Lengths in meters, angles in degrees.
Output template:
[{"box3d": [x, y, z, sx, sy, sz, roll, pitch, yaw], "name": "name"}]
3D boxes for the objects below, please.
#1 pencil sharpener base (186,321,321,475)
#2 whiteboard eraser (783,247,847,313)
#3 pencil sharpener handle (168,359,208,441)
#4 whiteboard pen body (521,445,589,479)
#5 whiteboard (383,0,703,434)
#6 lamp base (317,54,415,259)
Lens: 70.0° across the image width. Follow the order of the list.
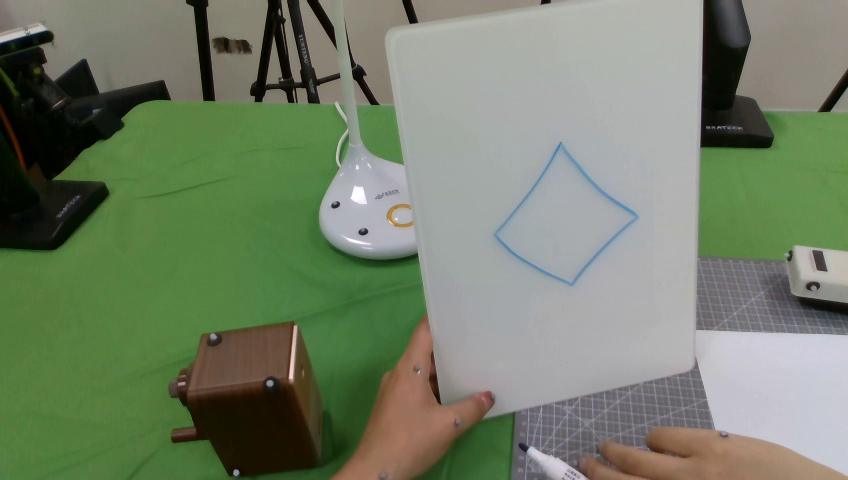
[{"box3d": [-0.124, 0.120, 0.452, 0.077, 0.108, 0.060, -7, 40, -2], "name": "pencil sharpener base"}, {"box3d": [0.390, 0.040, 0.547, 0.112, 0.042, 0.055, 9, 42, 16], "name": "whiteboard eraser"}, {"box3d": [-0.175, 0.119, 0.439, 0.030, 0.068, 0.035, -7, 27, -2], "name": "pencil sharpener handle"}, {"box3d": [0.126, 0.183, 0.419, 0.139, 0.017, 0.017, 29, 50, 28], "name": "whiteboard pen body"}, {"box3d": [0.090, -0.030, 0.503, 0.217, 0.307, 0.142, -11, 21, -6], "name": "whiteboard"}, {"box3d": [-0.055, -0.098, 0.652, 0.161, 0.182, 0.177, -29, 43, -27], "name": "lamp base"}]
